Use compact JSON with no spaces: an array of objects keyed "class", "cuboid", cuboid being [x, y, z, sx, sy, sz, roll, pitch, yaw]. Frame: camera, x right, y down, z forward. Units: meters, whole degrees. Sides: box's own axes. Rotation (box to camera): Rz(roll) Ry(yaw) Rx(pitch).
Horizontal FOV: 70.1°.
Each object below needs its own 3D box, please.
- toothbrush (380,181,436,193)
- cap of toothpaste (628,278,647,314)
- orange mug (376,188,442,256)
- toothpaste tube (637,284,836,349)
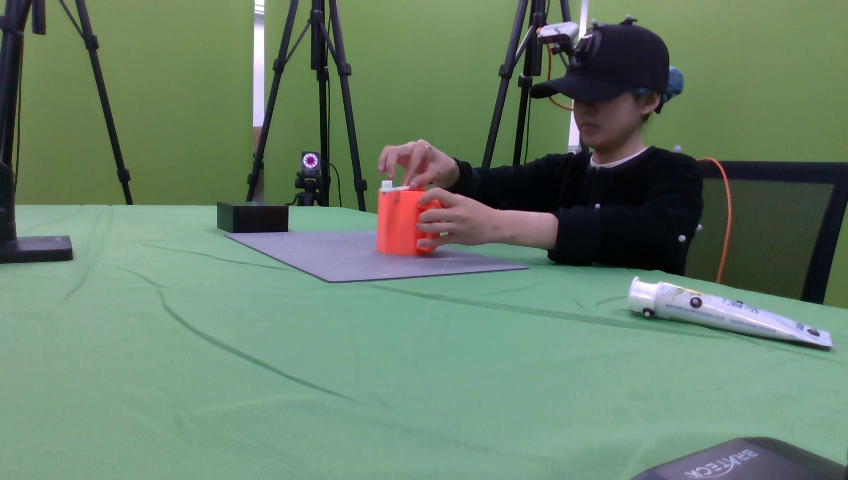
[{"class":"toothbrush","cuboid":[-0.020,-0.081,0.917,0.014,0.016,0.182,1,6,24]},{"class":"cap of toothpaste","cuboid":[0.209,0.055,0.589,0.011,0.037,0.037,11,11,28]},{"class":"orange mug","cuboid":[-0.018,-0.028,0.914,0.084,0.100,0.125,-2,5,-38]},{"class":"toothpaste tube","cuboid":[0.275,0.070,0.550,0.164,0.034,0.055,11,15,28]}]
